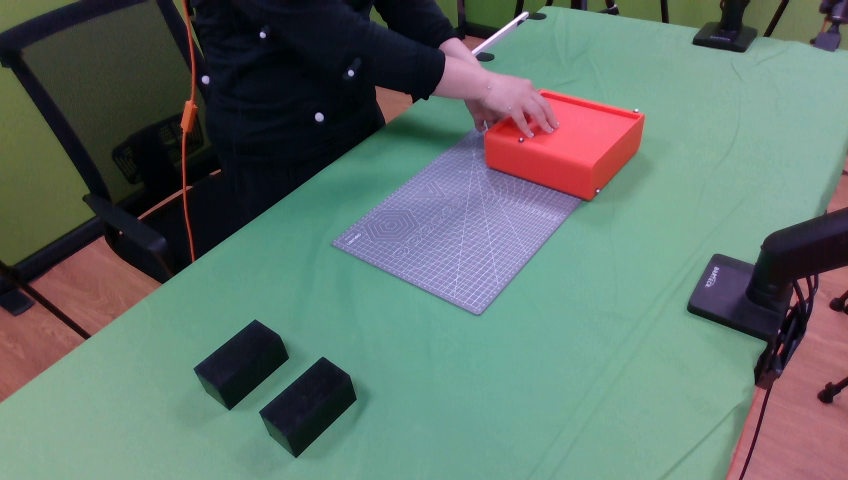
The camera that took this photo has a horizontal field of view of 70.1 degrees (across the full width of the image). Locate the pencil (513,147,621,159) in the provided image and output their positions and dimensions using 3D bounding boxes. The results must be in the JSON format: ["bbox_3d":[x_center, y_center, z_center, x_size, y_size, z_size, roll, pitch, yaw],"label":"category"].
[{"bbox_3d":[0.260,-0.157,1.100,0.194,0.012,0.012,-4,40,3],"label":"pencil"}]

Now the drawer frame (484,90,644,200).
[{"bbox_3d":[0.253,-0.179,1.095,0.212,0.083,0.202,24,48,31],"label":"drawer frame"}]

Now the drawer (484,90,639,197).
[{"bbox_3d":[0.248,-0.180,1.096,0.210,0.073,0.195,25,49,31],"label":"drawer"}]
